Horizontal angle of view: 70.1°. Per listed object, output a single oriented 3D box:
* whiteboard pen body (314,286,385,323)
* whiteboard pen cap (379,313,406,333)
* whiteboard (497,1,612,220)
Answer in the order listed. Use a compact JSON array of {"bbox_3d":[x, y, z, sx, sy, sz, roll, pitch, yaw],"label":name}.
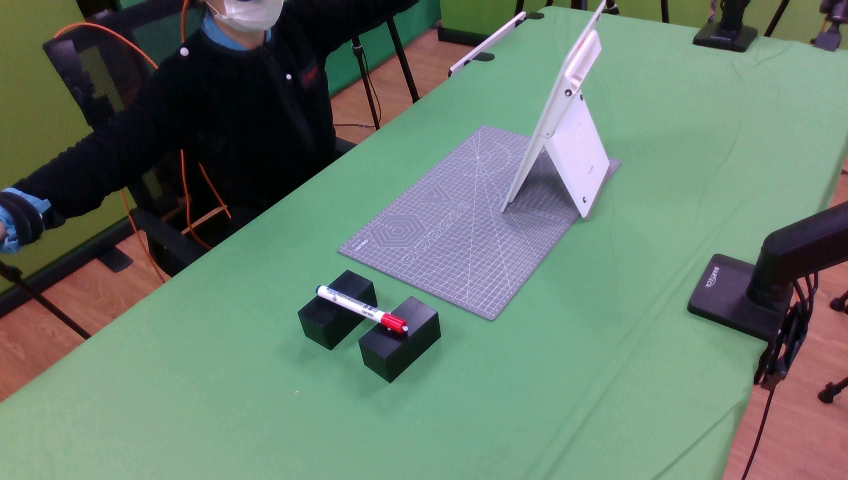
[{"bbox_3d":[-0.089,0.089,0.802,0.139,0.017,0.017,19,47,27],"label":"whiteboard pen body"},{"bbox_3d":[-0.041,0.106,0.776,0.032,0.017,0.017,18,46,24],"label":"whiteboard pen cap"},{"bbox_3d":[0.260,-0.178,0.963,0.143,0.306,0.217,28,49,9],"label":"whiteboard"}]
